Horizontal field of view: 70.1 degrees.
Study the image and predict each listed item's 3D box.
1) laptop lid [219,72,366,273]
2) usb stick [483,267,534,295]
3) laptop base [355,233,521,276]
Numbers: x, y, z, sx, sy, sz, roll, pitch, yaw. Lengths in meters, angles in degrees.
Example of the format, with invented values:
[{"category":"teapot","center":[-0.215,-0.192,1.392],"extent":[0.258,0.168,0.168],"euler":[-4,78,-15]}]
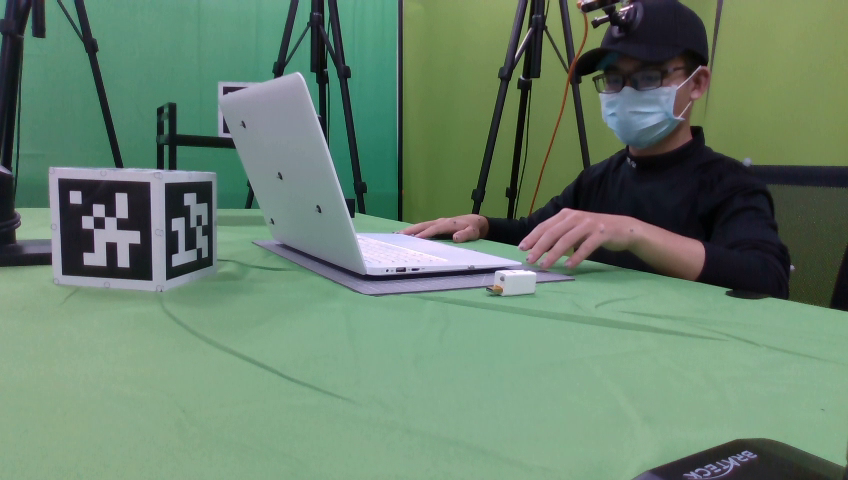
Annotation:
[{"category":"laptop lid","center":[-0.189,-0.087,0.800],"extent":[0.013,0.242,0.355],"euler":[-26,21,-26]},{"category":"usb stick","center":[0.093,0.046,0.673],"extent":[0.059,0.027,0.021],"euler":[-5,14,-30]},{"category":"laptop base","center":[-0.056,0.018,0.898],"extent":[0.237,0.023,0.352],"euler":[2,6,-32]}]
